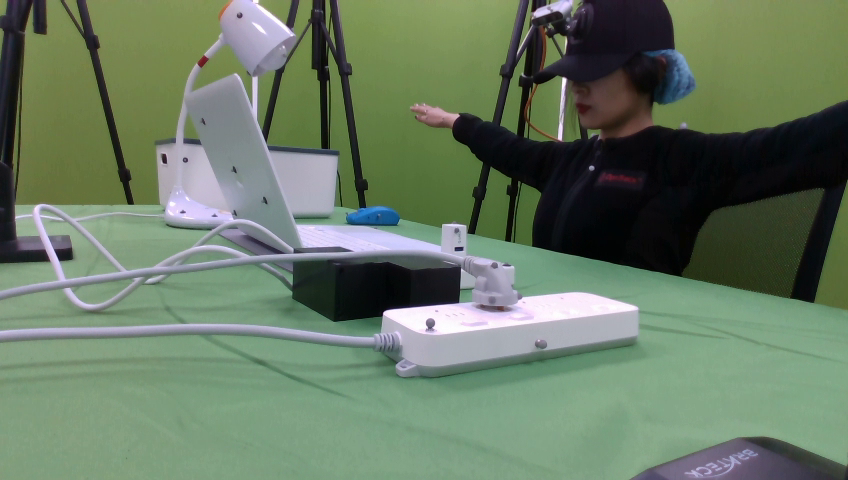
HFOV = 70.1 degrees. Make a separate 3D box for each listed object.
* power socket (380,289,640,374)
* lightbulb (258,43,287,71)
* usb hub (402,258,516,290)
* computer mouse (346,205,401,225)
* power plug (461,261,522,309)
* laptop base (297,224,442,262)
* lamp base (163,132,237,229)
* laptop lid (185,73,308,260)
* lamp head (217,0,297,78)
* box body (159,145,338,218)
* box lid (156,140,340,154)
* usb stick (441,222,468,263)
[{"bbox_3d":[0.072,0.064,0.461,0.228,0.032,0.072,-3,7,-30],"label":"power socket"},{"bbox_3d":[-0.295,-0.358,1.103,0.059,0.107,0.059,-37,0,0],"label":"lightbulb"},{"bbox_3d":[0.042,0.038,0.690,0.126,0.025,0.049,-2,9,-30],"label":"usb hub"},{"bbox_3d":[-0.112,-0.055,1.335,0.118,0.041,0.062,-5,11,-21],"label":"computer mouse"},{"bbox_3d":[0.043,0.043,0.444,0.035,0.052,0.073,-5,8,44],"label":"power plug"},{"bbox_3d":[-0.127,0.003,0.946,0.237,0.023,0.352,2,6,-31],"label":"laptop base"},{"bbox_3d":[-0.419,-0.116,1.156,0.179,0.180,0.160,0,7,0],"label":"lamp base"},{"bbox_3d":[-0.262,-0.101,0.850,0.013,0.242,0.355,-26,21,-25],"label":"laptop lid"},{"bbox_3d":[-0.315,-0.372,1.102,0.123,0.112,0.112,41,3,-9],"label":"lamp head"},{"bbox_3d":[-0.410,-0.139,1.414,0.366,0.160,0.253,-3,8,-33],"label":"box body"},{"bbox_3d":[-0.409,-0.213,1.404,0.373,0.015,0.262,-2,8,-32],"label":"box lid"},{"bbox_3d":[0.034,0.009,0.685,0.021,0.059,0.027,-2,10,-30],"label":"usb stick"}]
